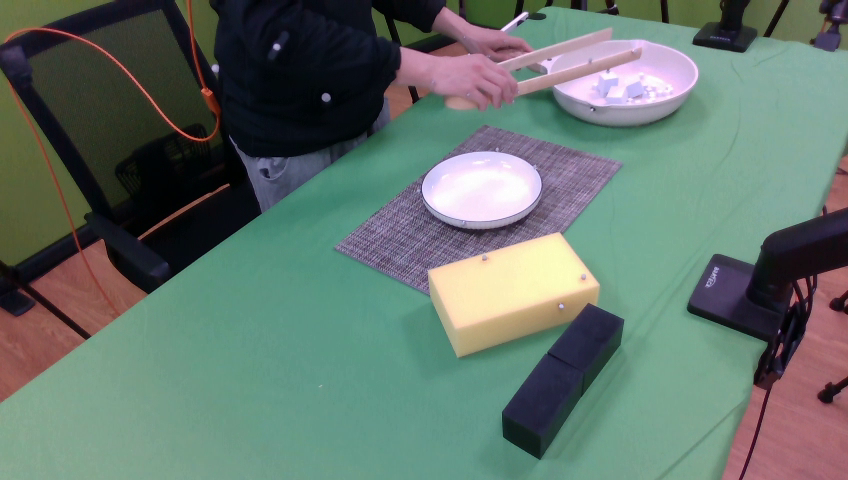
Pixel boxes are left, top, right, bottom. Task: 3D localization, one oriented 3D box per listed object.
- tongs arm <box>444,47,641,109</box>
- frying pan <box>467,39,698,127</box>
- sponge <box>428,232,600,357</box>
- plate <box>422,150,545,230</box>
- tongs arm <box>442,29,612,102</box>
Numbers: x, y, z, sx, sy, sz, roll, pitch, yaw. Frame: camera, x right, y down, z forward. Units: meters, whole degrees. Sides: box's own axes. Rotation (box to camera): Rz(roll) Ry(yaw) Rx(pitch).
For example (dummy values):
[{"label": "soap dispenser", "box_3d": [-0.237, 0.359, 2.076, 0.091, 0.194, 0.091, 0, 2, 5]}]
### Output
[{"label": "tongs arm", "box_3d": [0.214, -0.289, 1.056, 0.386, 0.026, 0.050, -21, 51, -19]}, {"label": "frying pan", "box_3d": [0.312, -0.359, 1.278, 0.485, 0.103, 0.307, 23, 48, 19]}, {"label": "sponge", "box_3d": [0.120, 0.071, 0.834, 0.207, 0.061, 0.117, -15, 43, -12]}, {"label": "plate", "box_3d": [0.100, -0.082, 1.030, 0.207, 0.039, 0.206, -4, 40, 4]}, {"label": "tongs arm", "box_3d": [0.192, -0.320, 1.085, 0.389, 0.028, 0.028, -24, 55, -21]}]
